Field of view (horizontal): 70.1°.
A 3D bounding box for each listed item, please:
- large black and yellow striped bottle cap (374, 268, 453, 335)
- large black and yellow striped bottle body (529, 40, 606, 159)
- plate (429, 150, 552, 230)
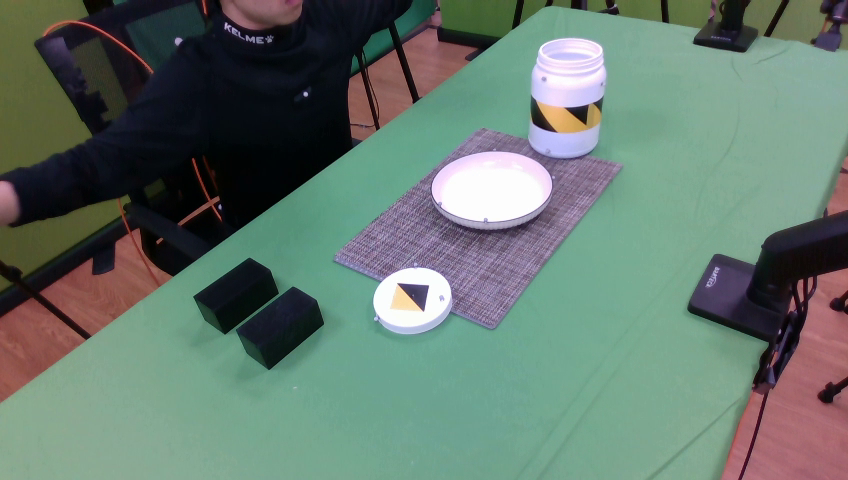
[{"bbox_3d":[-0.015,0.087,0.871,0.115,0.019,0.114,-6,43,6],"label":"large black and yellow striped bottle cap"},{"bbox_3d":[0.259,-0.257,1.103,0.131,0.185,0.130,-3,38,3],"label":"large black and yellow striped bottle body"},{"bbox_3d":[0.113,-0.082,1.032,0.207,0.039,0.206,-4,41,4],"label":"plate"}]
